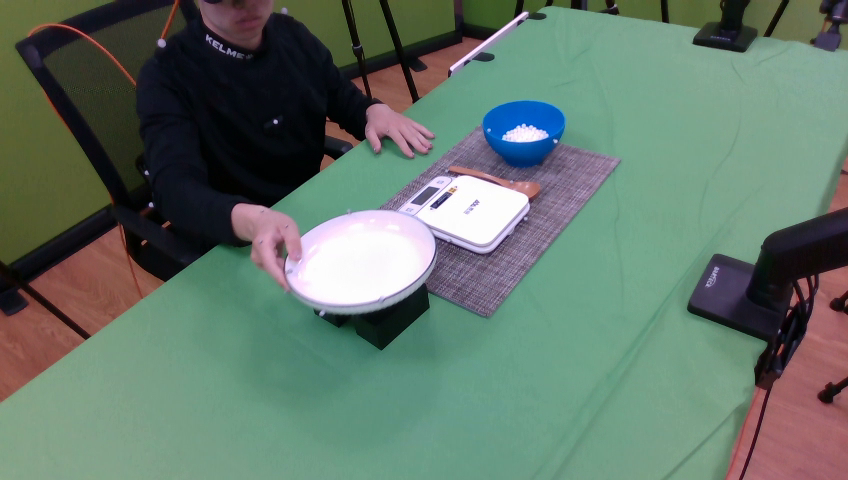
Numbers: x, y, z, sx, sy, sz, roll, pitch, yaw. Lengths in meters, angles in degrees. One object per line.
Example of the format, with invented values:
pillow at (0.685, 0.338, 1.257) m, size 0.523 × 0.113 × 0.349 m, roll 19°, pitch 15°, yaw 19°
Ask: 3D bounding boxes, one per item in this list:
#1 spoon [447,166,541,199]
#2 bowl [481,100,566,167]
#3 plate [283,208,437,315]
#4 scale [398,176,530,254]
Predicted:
spoon at (0.120, -0.107, 1.071) m, size 0.192 × 0.022 × 0.041 m, roll 23°, pitch 64°, yaw 31°
bowl at (0.183, -0.187, 1.111) m, size 0.151 × 0.077 × 0.150 m, roll -4°, pitch 41°, yaw 4°
plate at (-0.083, 0.030, 0.816) m, size 0.209 × 0.038 × 0.208 m, roll -5°, pitch 37°, yaw 4°
scale at (0.060, -0.050, 1.006) m, size 0.199 × 0.032 × 0.149 m, roll 22°, pitch 48°, yaw 30°
